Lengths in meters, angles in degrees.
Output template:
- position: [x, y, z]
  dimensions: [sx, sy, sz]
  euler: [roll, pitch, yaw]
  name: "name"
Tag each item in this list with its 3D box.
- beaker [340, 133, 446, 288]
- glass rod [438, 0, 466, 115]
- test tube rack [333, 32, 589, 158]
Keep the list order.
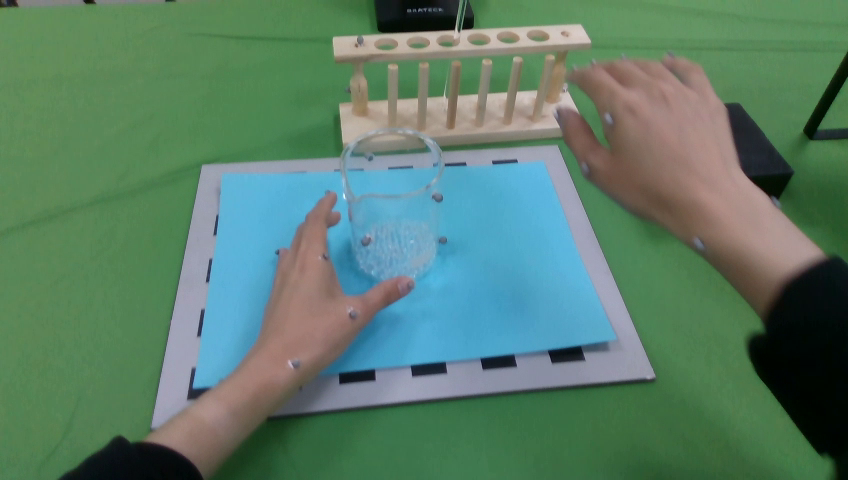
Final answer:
- position: [-0.025, -0.017, 0.458]
  dimensions: [0.073, 0.101, 0.084]
  euler: [32, 54, 26]
  name: "beaker"
- position: [0.030, -0.195, 0.550]
  dimensions: [0.008, 0.201, 0.008]
  euler: [5, 49, -6]
  name: "glass rod"
- position: [0.037, -0.142, 0.592]
  dimensions: [0.243, 0.086, 0.066]
  euler: [-5, 47, -7]
  name: "test tube rack"
